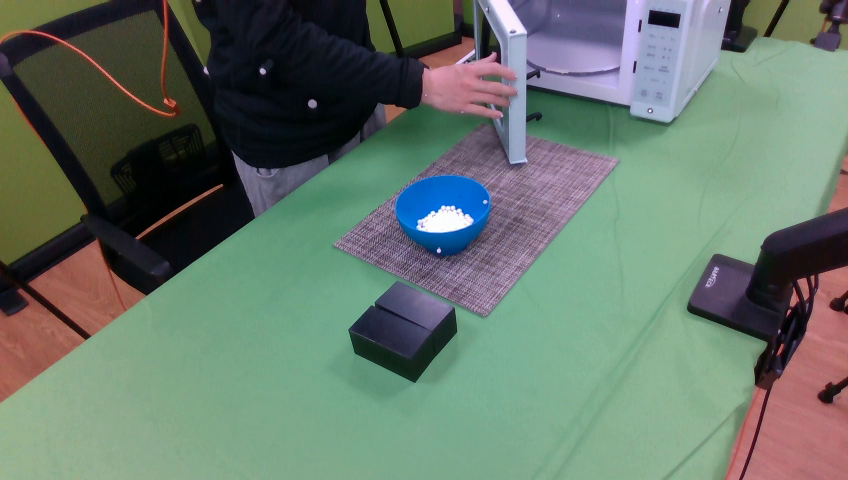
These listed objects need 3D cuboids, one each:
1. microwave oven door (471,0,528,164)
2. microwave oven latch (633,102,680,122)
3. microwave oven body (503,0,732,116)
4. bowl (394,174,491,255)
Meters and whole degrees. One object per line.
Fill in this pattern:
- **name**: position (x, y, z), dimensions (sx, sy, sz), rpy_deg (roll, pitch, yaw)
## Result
- **microwave oven door**: position (0.139, -0.342, 1.153), dimensions (0.039, 0.245, 0.353), rpy_deg (-9, 40, -2)
- **microwave oven latch**: position (0.443, -0.249, 1.157), dimensions (0.078, 0.029, 0.030), rpy_deg (21, 49, 30)
- **microwave oven body**: position (0.377, -0.462, 1.267), dimensions (0.438, 0.261, 0.327), rpy_deg (21, 48, 30)
- **bowl**: position (0.032, -0.030, 0.949), dimensions (0.151, 0.077, 0.150), rpy_deg (-4, 40, 4)
